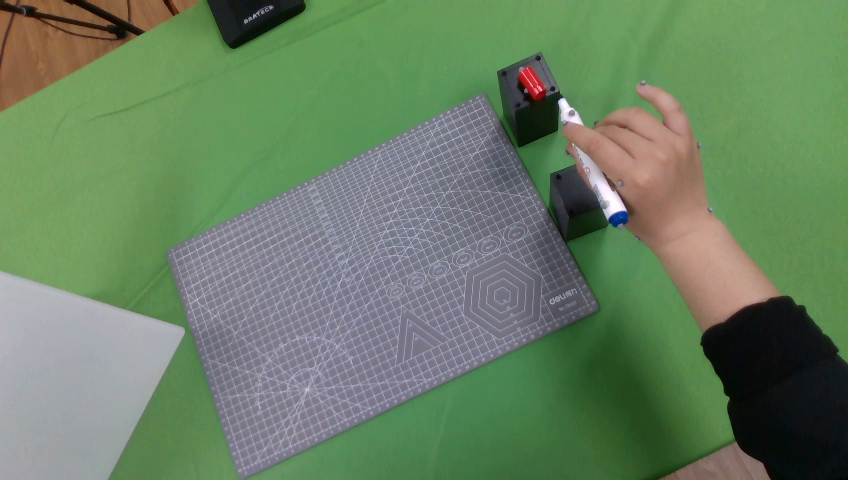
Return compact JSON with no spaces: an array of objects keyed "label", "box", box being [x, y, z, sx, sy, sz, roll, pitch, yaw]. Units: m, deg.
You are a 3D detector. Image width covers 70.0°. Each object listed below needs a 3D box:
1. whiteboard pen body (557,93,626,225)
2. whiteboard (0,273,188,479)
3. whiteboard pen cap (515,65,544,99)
[{"label":"whiteboard pen body","box":[0.133,-0.071,0.495,0.017,0.017,0.139,-18,58,6]},{"label":"whiteboard","box":[-0.460,0.133,0.648,0.142,0.308,0.217,21,81,35]},{"label":"whiteboard pen cap","box":[0.108,-0.162,0.622,0.017,0.017,0.032,-31,75,2]}]
